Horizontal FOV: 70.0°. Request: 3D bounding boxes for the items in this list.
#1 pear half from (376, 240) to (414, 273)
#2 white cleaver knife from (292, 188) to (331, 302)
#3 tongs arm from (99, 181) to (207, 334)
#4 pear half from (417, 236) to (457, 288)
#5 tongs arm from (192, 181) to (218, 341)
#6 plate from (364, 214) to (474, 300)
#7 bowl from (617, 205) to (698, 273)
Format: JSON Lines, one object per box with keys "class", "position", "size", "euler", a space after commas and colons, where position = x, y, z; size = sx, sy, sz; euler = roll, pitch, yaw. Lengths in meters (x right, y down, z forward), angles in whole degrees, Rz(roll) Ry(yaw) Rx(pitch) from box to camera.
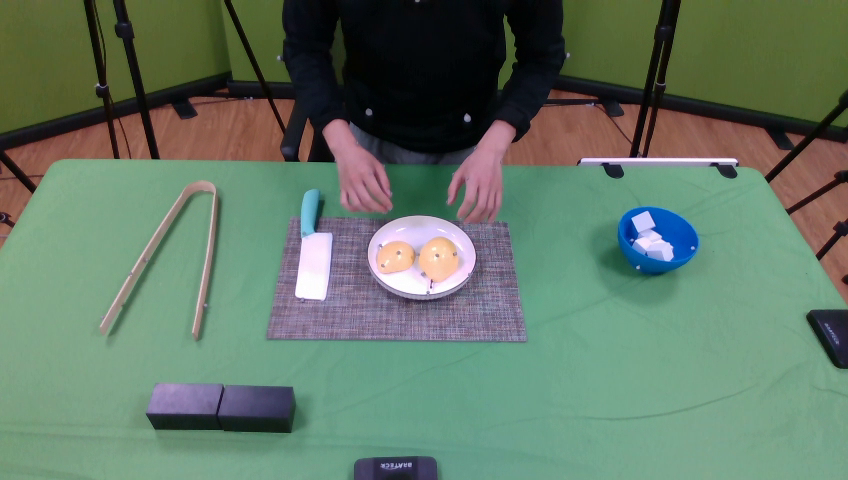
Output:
{"class": "pear half", "position": [-0.058, 0.026, 1.146], "size": [0.070, 0.031, 0.088], "euler": [23, 43, 22]}
{"class": "white cleaver knife", "position": [-0.215, 0.006, 1.178], "size": [0.066, 0.021, 0.284], "euler": [4, 49, -11]}
{"class": "tongs arm", "position": [-0.493, 0.018, 1.132], "size": [0.051, 0.026, 0.382], "euler": [7, 45, 0]}
{"class": "pear half", "position": [0.022, 0.039, 1.127], "size": [0.076, 0.056, 0.109], "euler": [5, 49, 8]}
{"class": "tongs arm", "position": [-0.413, 0.025, 1.140], "size": [0.028, 0.028, 0.385], "euler": [-5, 47, -7]}
{"class": "plate", "position": [-0.010, 0.036, 1.146], "size": [0.208, 0.039, 0.206], "euler": [2, 46, -2]}
{"class": "bowl", "position": [0.442, 0.010, 1.181], "size": [0.151, 0.077, 0.150], "euler": [2, 46, -2]}
